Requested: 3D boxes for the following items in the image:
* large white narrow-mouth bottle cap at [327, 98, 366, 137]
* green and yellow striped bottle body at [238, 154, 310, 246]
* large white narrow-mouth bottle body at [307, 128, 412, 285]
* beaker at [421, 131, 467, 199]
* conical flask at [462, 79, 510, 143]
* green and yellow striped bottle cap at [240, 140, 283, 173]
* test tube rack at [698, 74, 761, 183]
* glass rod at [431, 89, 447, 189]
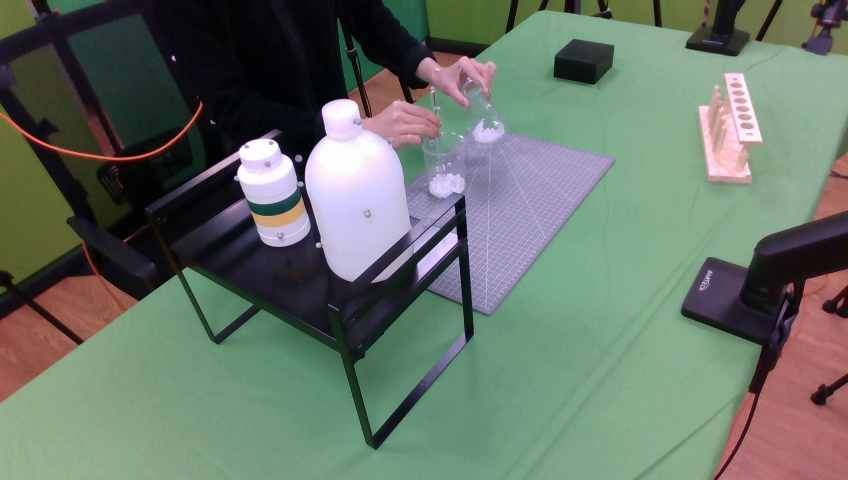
[{"bbox_3d":[-0.075,-0.118,0.582,0.038,0.024,0.037,-3,40,3],"label":"large white narrow-mouth bottle cap"},{"bbox_3d":[-0.178,-0.056,0.714,0.063,0.120,0.063,-4,40,4],"label":"green and yellow striped bottle body"},{"bbox_3d":[-0.070,-0.051,0.638,0.102,0.195,0.101,-3,40,3],"label":"large white narrow-mouth bottle body"},{"bbox_3d":[0.040,-0.130,1.060,0.084,0.100,0.073,-24,44,-19],"label":"beaker"},{"bbox_3d":[0.106,-0.237,1.094,0.075,0.123,0.075,-11,59,19],"label":"conical flask"},{"bbox_3d":[-0.183,-0.094,0.679,0.045,0.020,0.045,-4,38,4],"label":"green and yellow striped bottle cap"},{"bbox_3d":[0.547,-0.208,1.095,0.066,0.085,0.242,5,42,15],"label":"test tube rack"},{"bbox_3d":[0.027,-0.162,1.006,0.008,0.201,0.008,-5,44,5],"label":"glass rod"}]
